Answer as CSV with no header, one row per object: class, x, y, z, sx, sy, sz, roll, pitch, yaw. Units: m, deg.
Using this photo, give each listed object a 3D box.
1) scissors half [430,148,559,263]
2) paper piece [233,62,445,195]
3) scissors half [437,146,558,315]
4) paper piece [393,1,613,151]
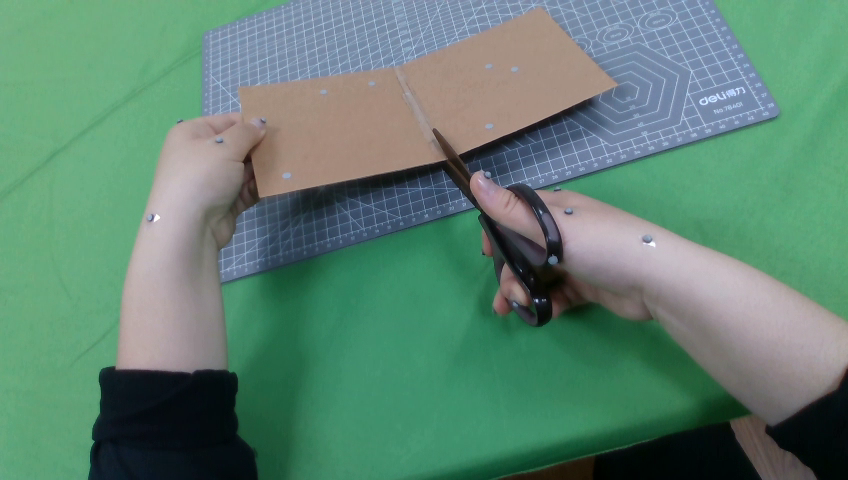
scissors half,0.036,-0.035,0.389,0.013,0.040,0.173,-18,29,-15
paper piece,-0.070,-0.093,0.463,0.138,0.009,0.134,-14,45,-11
scissors half,0.039,-0.019,0.404,0.013,0.040,0.173,-22,56,-11
paper piece,0.055,-0.135,0.478,0.135,0.004,0.134,-23,49,-1
